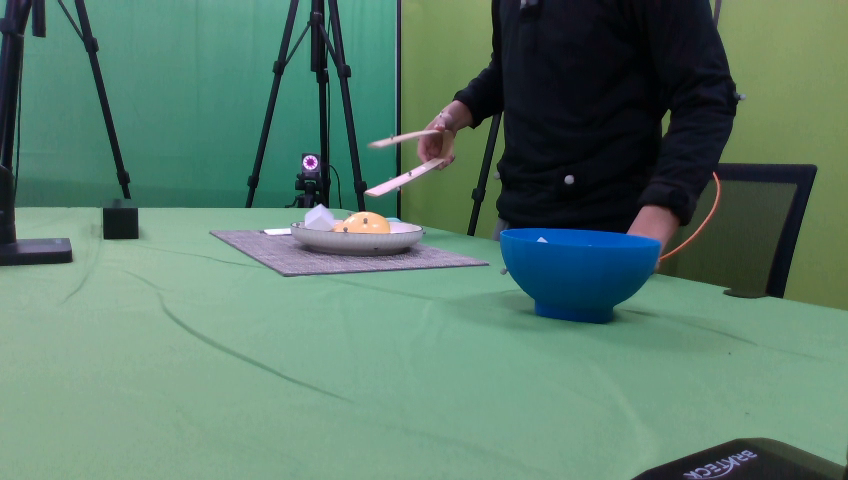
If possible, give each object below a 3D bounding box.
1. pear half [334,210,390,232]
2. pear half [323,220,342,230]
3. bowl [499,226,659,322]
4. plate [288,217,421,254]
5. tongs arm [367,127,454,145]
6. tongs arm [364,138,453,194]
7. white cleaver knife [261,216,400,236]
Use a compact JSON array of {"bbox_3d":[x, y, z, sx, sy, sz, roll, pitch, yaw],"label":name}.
[{"bbox_3d":[-0.107,-0.017,0.920,0.110,0.056,0.076,-5,5,-20],"label":"pear half"},{"bbox_3d":[-0.126,-0.019,1.001,0.088,0.031,0.070,9,3,1],"label":"pear half"},{"bbox_3d":[0.145,0.032,0.585,0.151,0.077,0.151,2,7,0],"label":"bowl"},{"bbox_3d":[-0.109,-0.008,0.956,0.208,0.039,0.207,2,7,0],"label":"plate"},{"bbox_3d":[-0.013,-0.189,1.112,0.027,0.028,0.388,6,14,19],"label":"tongs arm"},{"bbox_3d":[-0.017,-0.146,1.127,0.026,0.051,0.386,10,18,18],"label":"tongs arm"},{"bbox_3d":[-0.169,-0.021,1.156,0.288,0.021,0.065,-7,20,-33],"label":"white cleaver knife"}]
